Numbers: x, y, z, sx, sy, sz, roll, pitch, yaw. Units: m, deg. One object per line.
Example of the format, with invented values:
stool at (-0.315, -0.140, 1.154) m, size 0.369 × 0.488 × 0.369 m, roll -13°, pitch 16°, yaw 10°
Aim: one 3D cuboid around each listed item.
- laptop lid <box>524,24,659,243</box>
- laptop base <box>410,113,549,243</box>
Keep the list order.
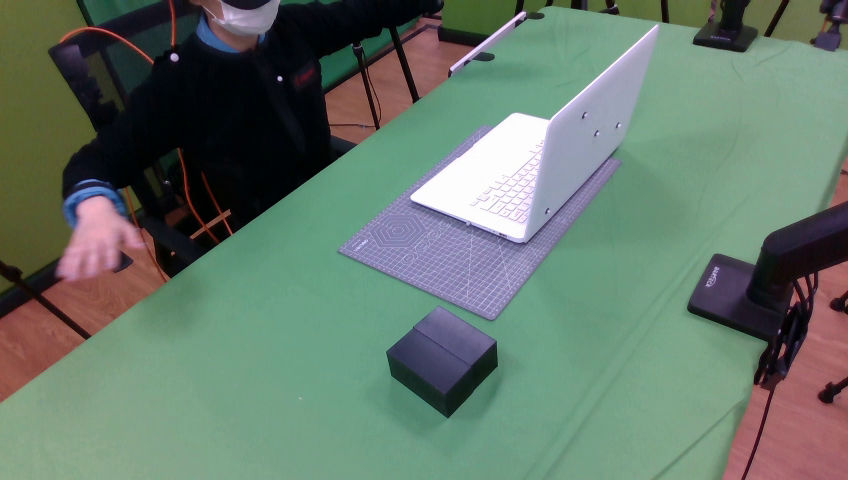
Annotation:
laptop lid at (0.266, -0.170, 0.949) m, size 0.013 × 0.242 × 0.358 m, roll 30°, pitch 50°, yaw 25°
laptop base at (0.171, -0.126, 1.095) m, size 0.233 × 0.023 × 0.355 m, roll 21°, pitch 47°, yaw 33°
